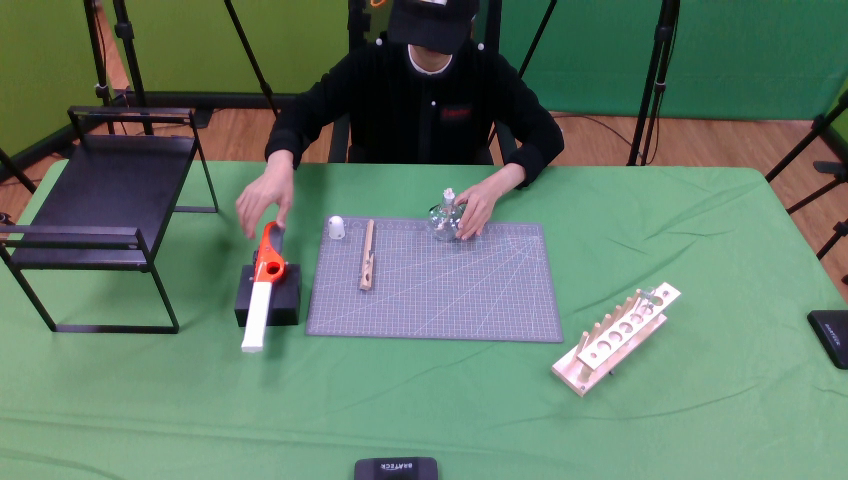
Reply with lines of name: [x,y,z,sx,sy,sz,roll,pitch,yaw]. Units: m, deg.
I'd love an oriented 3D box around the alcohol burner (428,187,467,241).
alcohol burner: [0.047,-0.057,1.184,0.078,0.119,0.077,2,44,-2]

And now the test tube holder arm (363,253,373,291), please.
test tube holder arm: [-0.104,0.058,1.132,0.010,0.015,0.087,28,37,-26]

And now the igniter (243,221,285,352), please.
igniter: [-0.273,0.069,1.041,0.057,0.025,0.274,2,48,-5]

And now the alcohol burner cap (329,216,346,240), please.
alcohol burner cap: [-0.171,-0.026,1.190,0.034,0.048,0.033,1,47,-1]

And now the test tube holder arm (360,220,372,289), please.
test tube holder arm: [-0.110,0.024,1.161,0.013,0.015,0.177,28,38,-27]

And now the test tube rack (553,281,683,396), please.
test tube rack: [0.329,0.153,1.023,0.242,0.085,0.066,-30,54,-28]

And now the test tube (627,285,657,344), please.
test tube: [0.350,0.124,0.983,0.017,0.151,0.017,0,49,0]
